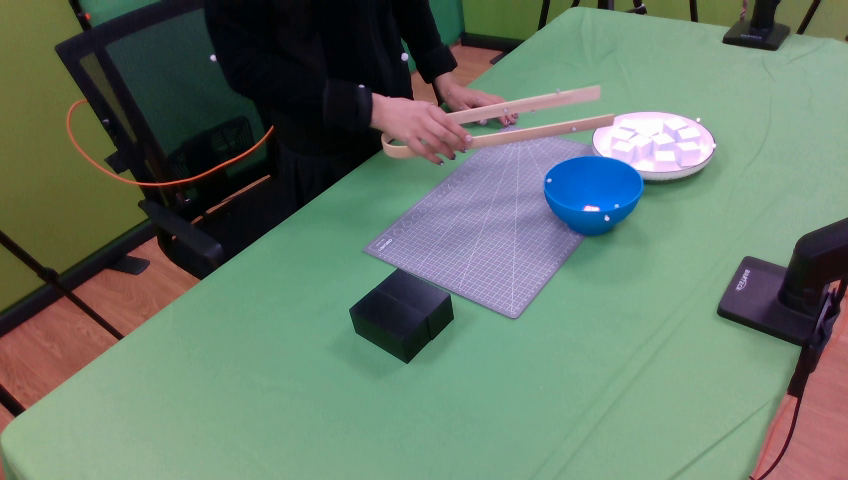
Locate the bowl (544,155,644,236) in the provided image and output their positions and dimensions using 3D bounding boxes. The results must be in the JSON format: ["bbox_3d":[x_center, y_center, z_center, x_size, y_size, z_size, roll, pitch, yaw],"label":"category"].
[{"bbox_3d":[0.266,-0.061,0.957,0.151,0.077,0.150,-5,40,5],"label":"bowl"}]

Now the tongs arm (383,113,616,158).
[{"bbox_3d":[0.125,-0.176,1.006,0.388,0.028,0.028,-8,53,1],"label":"tongs arm"}]

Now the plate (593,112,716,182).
[{"bbox_3d":[0.408,-0.163,1.084,0.207,0.039,0.206,-4,40,4],"label":"plate"}]

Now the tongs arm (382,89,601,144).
[{"bbox_3d":[0.119,-0.207,1.035,0.385,0.026,0.050,-9,49,0],"label":"tongs arm"}]
